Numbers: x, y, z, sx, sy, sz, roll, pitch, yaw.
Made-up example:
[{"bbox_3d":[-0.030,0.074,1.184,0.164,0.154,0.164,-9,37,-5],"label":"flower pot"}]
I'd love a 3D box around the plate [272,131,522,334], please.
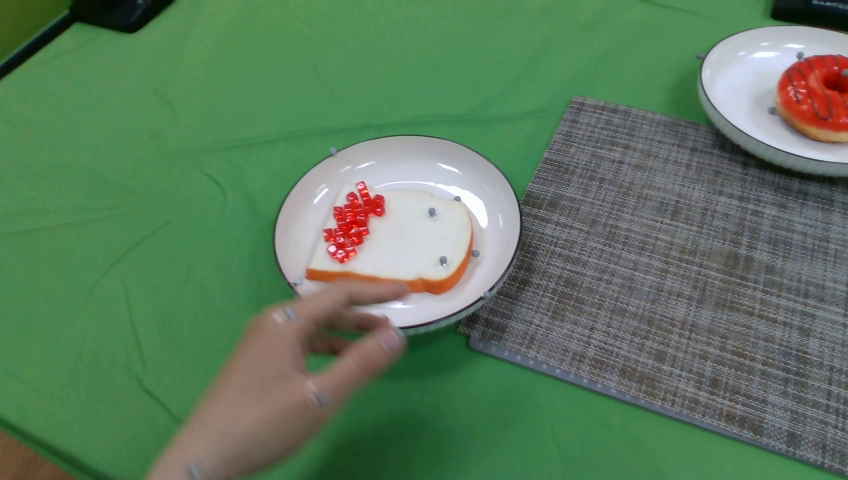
[{"bbox_3d":[-0.022,-0.009,0.514,0.209,0.038,0.207,-3,53,4],"label":"plate"}]

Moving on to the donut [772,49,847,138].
[{"bbox_3d":[0.371,-0.133,0.554,0.099,0.049,0.098,-2,54,3],"label":"donut"}]

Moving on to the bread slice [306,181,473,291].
[{"bbox_3d":[-0.024,-0.005,0.515,0.131,0.019,0.104,6,54,11],"label":"bread slice"}]

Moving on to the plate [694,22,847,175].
[{"bbox_3d":[0.360,-0.131,0.568,0.207,0.039,0.205,-2,51,3],"label":"plate"}]
